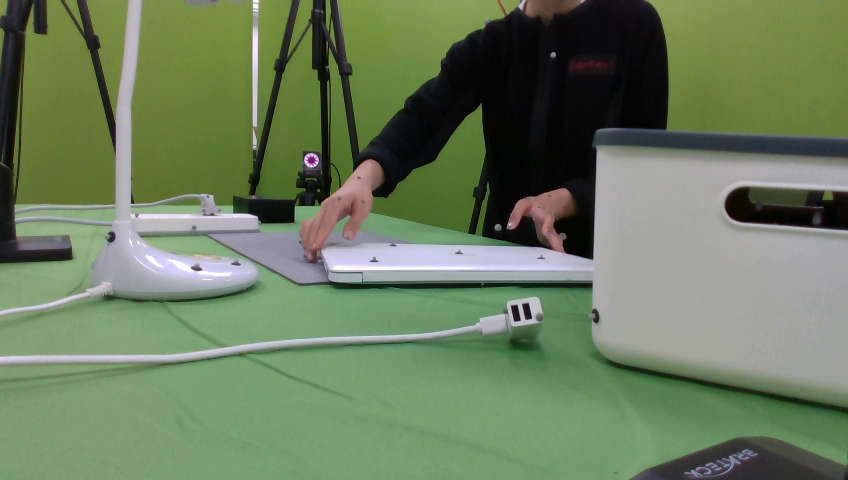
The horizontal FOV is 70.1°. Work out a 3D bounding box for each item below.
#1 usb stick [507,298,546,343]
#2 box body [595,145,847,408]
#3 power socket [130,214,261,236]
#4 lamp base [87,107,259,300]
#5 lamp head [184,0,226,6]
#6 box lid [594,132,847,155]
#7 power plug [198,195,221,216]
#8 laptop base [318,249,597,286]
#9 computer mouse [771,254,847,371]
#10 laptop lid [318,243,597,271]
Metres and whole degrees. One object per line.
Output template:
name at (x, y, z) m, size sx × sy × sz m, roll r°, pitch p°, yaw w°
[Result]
usb stick at (0.079, 0.065, 0.470) m, size 0.027 × 0.021 × 0.059 m, roll -12°, pitch -24°, yaw 4°
box body at (0.309, 0.007, 0.510) m, size 0.253 × 0.160 × 0.366 m, roll 6°, pitch 8°, yaw 29°
power socket at (-0.397, -0.028, 1.048) m, size 0.228 × 0.032 × 0.072 m, roll -3°, pitch 8°, yaw -35°
lamp base at (-0.254, -0.039, 0.603) m, size 0.160 × 0.180 × 0.179 m, roll 5°, pitch 10°, yaw 18°
lamp head at (-0.229, -0.320, 0.627) m, size 0.112 × 0.112 × 0.123 m, roll 6°, pitch -35°, yaw 26°
box lid at (0.310, -0.066, 0.499) m, size 0.262 × 0.015 × 0.373 m, roll 7°, pitch 8°, yaw 29°
power plug at (-0.385, -0.055, 1.088) m, size 0.035 × 0.052 × 0.072 m, roll -1°, pitch 6°, yaw -24°
laptop base at (0.046, 0.034, 0.789) m, size 0.355 × 0.023 × 0.235 m, roll 1°, pitch 5°, yaw -14°
computer mouse at (0.344, 0.057, 0.518) m, size 0.063 × 0.041 × 0.117 m, roll 12°, pitch 47°, yaw 3°
laptop lid at (0.046, 0.022, 0.789) m, size 0.358 × 0.013 × 0.241 m, roll 1°, pitch 6°, yaw -12°
